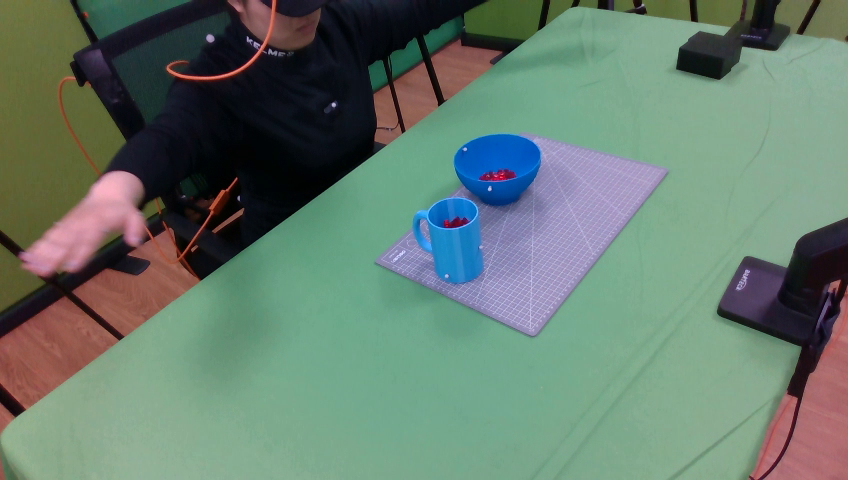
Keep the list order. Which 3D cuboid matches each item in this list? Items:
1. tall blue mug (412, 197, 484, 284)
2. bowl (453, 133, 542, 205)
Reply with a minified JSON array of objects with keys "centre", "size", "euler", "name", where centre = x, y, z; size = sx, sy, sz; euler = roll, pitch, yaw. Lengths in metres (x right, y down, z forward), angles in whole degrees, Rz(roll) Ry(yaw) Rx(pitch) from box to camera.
[{"centre":[0.033,0.002,0.903],"size":[0.107,0.108,0.077],"euler":[-3,41,9],"name":"tall blue mug"},{"centre":[0.129,-0.113,1.045],"size":[0.151,0.077,0.150],"euler":[-5,40,5],"name":"bowl"}]
